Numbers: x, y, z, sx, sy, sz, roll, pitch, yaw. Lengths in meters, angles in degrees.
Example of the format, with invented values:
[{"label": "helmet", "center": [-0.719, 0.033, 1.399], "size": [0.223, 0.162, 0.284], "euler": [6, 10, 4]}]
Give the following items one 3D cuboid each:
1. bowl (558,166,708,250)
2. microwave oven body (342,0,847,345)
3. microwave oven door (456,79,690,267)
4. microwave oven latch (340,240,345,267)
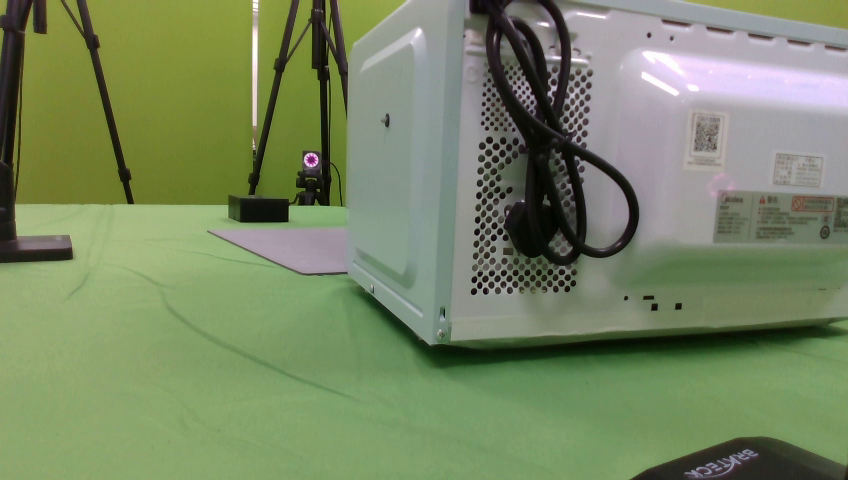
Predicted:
[{"label": "bowl", "center": [0.215, -0.035, 0.640], "size": [0.151, 0.077, 0.151], "euler": [2, 11, 0]}, {"label": "microwave oven body", "center": [0.169, -0.060, 0.573], "size": [0.444, 0.260, 0.324], "euler": [1, 7, -20]}, {"label": "microwave oven door", "center": [0.198, -0.104, 0.893], "size": [0.354, 0.243, 0.039], "euler": [9, 10, 41]}, {"label": "microwave oven latch", "center": [-0.052, 0.016, 0.662], "size": [0.079, 0.029, 0.030], "euler": [1, 7, -18]}]
